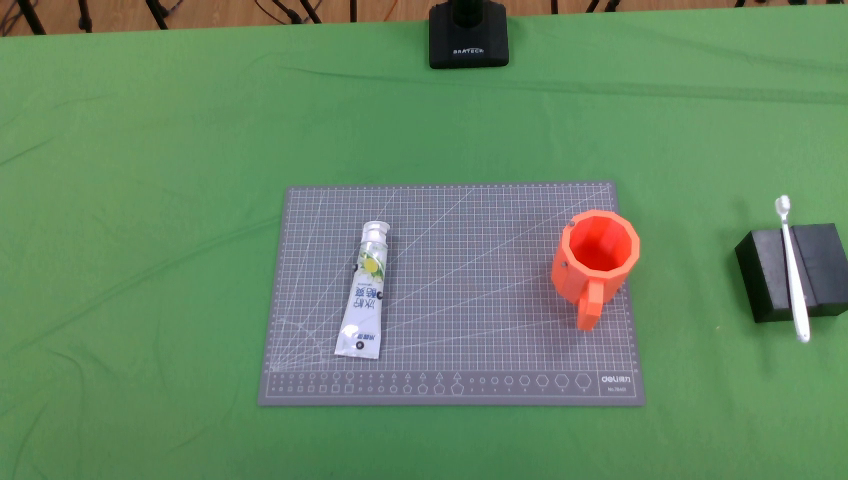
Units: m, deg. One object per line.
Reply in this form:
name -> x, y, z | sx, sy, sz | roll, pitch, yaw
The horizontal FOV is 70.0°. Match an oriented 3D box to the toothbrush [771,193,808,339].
toothbrush -> 0.422, 0.025, 0.698 | 0.014, 0.017, 0.180 | 5, 66, 2

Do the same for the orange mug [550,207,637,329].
orange mug -> 0.195, 0.037, 0.712 | 0.083, 0.101, 0.125 | 7, 61, 7

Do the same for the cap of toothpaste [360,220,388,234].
cap of toothpaste -> -0.065, -0.015, 0.783 | 0.037, 0.037, 0.011 | -4, 64, 2

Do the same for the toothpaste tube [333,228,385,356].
toothpaste tube -> -0.075, 0.061, 0.756 | 0.055, 0.035, 0.164 | 2, 69, 11
